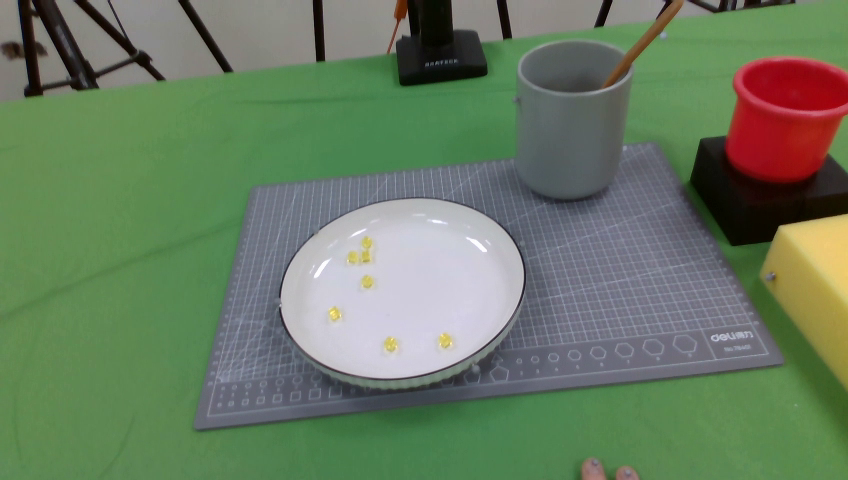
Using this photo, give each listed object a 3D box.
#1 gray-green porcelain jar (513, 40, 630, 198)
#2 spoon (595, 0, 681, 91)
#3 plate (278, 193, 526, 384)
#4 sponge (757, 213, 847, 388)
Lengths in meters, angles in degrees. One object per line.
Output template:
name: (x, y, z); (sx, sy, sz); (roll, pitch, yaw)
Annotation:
gray-green porcelain jar: (0.141, -0.114, 0.596); (0.106, 0.128, 0.105); (-4, 44, 4)
spoon: (0.167, -0.137, 0.563); (0.022, 0.194, 0.041); (25, 40, -7)
plate: (-0.018, 0.039, 0.521); (0.207, 0.039, 0.205); (-4, 43, 4)
sponge: (0.357, 0.066, 0.431); (0.118, 0.061, 0.204); (-11, 43, -4)
